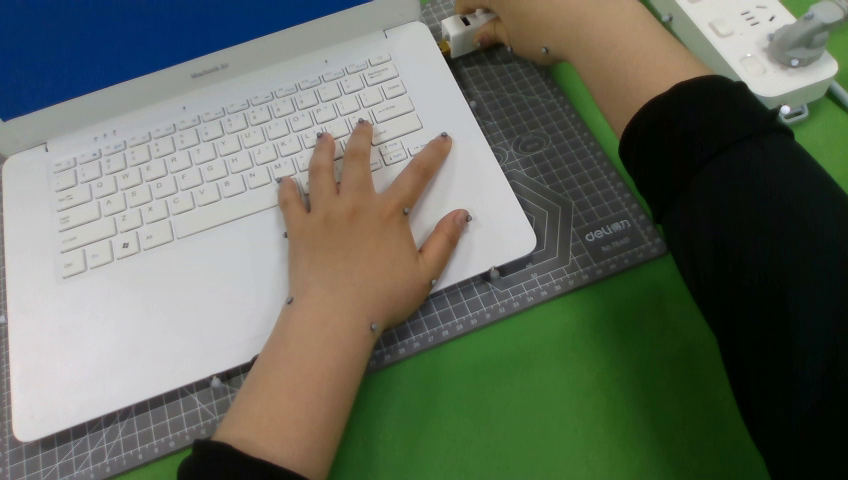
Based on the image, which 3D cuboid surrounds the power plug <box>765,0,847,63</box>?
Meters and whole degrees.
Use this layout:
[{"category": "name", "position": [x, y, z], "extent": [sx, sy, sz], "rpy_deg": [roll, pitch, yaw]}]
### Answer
[{"category": "power plug", "position": [0.283, -0.146, 0.434], "extent": [0.072, 0.053, 0.035], "rpy_deg": [-11, 64, -1]}]

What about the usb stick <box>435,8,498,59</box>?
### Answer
[{"category": "usb stick", "position": [0.029, -0.165, 0.489], "extent": [0.059, 0.027, 0.021], "rpy_deg": [-18, 61, -4]}]

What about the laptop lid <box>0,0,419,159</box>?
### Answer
[{"category": "laptop lid", "position": [-0.187, -0.196, 0.408], "extent": [0.357, 0.244, 0.013], "rpy_deg": [-22, 49, -4]}]

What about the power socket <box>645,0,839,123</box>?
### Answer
[{"category": "power socket", "position": [0.233, -0.186, 0.484], "extent": [0.072, 0.033, 0.224], "rpy_deg": [-20, 61, -4]}]

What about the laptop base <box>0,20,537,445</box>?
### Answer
[{"category": "laptop base", "position": [-0.125, -0.026, 0.443], "extent": [0.354, 0.023, 0.233], "rpy_deg": [-21, 66, -6]}]

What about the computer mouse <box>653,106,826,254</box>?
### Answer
[{"category": "computer mouse", "position": [0.211, -0.047, 0.409], "extent": [0.063, 0.041, 0.116], "rpy_deg": [-22, 58, -5]}]
